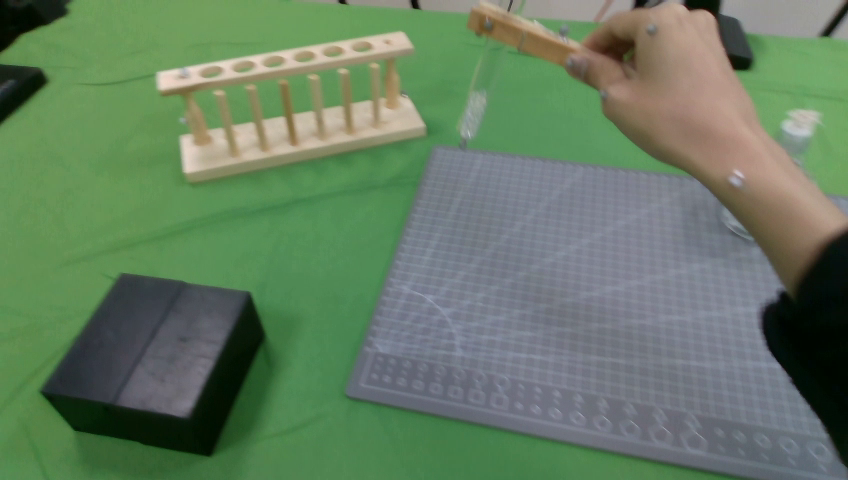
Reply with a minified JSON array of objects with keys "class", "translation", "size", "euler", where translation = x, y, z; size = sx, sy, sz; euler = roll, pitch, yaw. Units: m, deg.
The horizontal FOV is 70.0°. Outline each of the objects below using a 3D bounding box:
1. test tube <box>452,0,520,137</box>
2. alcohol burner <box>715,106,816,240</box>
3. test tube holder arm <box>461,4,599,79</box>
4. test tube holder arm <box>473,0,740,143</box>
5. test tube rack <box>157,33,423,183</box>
[{"class":"test tube","translation":[0.044,-0.130,0.385],"size":[0.017,0.151,0.017],"euler":[11,40,-10]},{"class":"alcohol burner","translation":[0.290,-0.059,0.504],"size":[0.078,0.120,0.077],"euler":[0,44,0]},{"class":"test tube holder arm","translation":[0.065,-0.123,0.374],"size":[0.088,0.015,0.010],"euler":[24,40,4]},{"class":"test tube holder arm","translation":[0.107,-0.105,0.372],"size":[0.178,0.015,0.013],"euler":[29,41,10]},{"class":"test tube rack","translation":[-0.126,-0.134,0.606],"size":[0.243,0.086,0.066],"euler":[-14,47,-13]}]
